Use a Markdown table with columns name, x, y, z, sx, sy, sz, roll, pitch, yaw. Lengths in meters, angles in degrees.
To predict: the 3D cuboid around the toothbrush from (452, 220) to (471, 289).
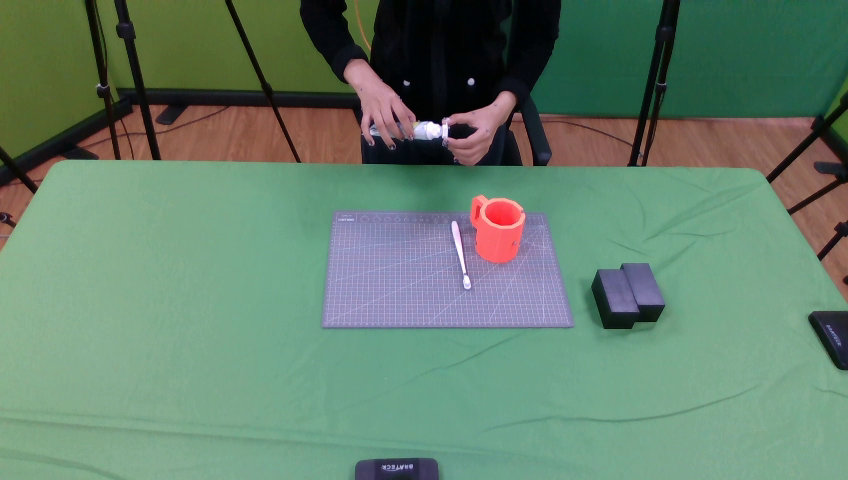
| name | x | y | z | sx | sy | sz | roll | pitch | yaw |
| --- | --- | --- | --- | --- | --- | --- | --- | --- | --- |
| toothbrush | 0.071 | 0.024 | 1.180 | 0.014 | 0.017 | 0.180 | -13 | 45 | 4 |

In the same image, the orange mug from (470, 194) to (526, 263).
| name | x | y | z | sx | sy | sz | roll | pitch | yaw |
| --- | --- | --- | --- | --- | --- | --- | --- | --- | --- |
| orange mug | 0.136 | -0.030 | 1.180 | 0.083 | 0.101 | 0.125 | -26 | 58 | -26 |

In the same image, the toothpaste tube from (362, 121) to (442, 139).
| name | x | y | z | sx | sy | sz | roll | pitch | yaw |
| --- | --- | --- | --- | --- | --- | --- | --- | --- | --- |
| toothpaste tube | -0.040 | -0.219 | 1.188 | 0.164 | 0.035 | 0.055 | 7 | 32 | 25 |

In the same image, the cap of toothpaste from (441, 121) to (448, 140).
| name | x | y | z | sx | sy | sz | roll | pitch | yaw |
| --- | --- | --- | --- | --- | --- | --- | --- | --- | --- |
| cap of toothpaste | 0.038 | -0.209 | 1.153 | 0.011 | 0.037 | 0.037 | 2 | 46 | -5 |
